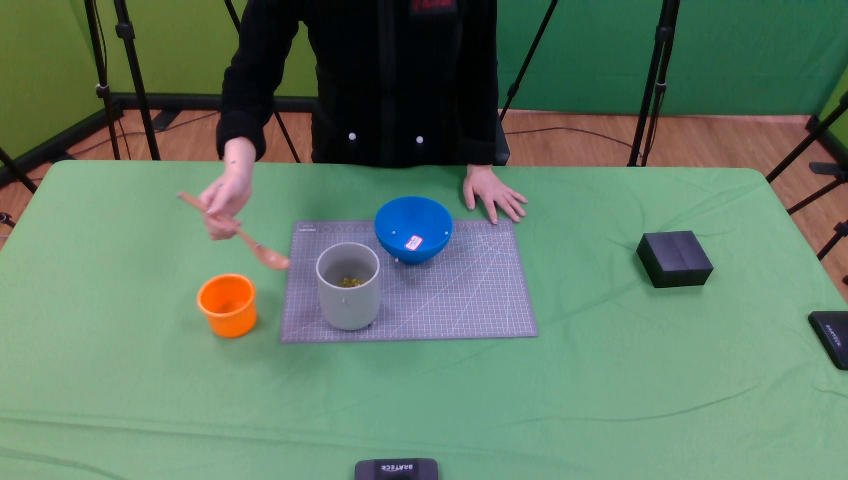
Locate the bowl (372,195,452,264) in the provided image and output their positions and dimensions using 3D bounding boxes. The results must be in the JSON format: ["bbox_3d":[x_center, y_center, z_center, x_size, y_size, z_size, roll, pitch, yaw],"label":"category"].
[{"bbox_3d":[-0.023,-0.008,1.161,0.151,0.077,0.150,2,46,-2],"label":"bowl"}]

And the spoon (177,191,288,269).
[{"bbox_3d":[-0.288,-0.015,0.922,0.194,0.021,0.041,42,22,-21],"label":"spoon"}]

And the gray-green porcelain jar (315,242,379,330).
[{"bbox_3d":[-0.129,0.084,1.031,0.106,0.127,0.105,2,46,-2],"label":"gray-green porcelain jar"}]
